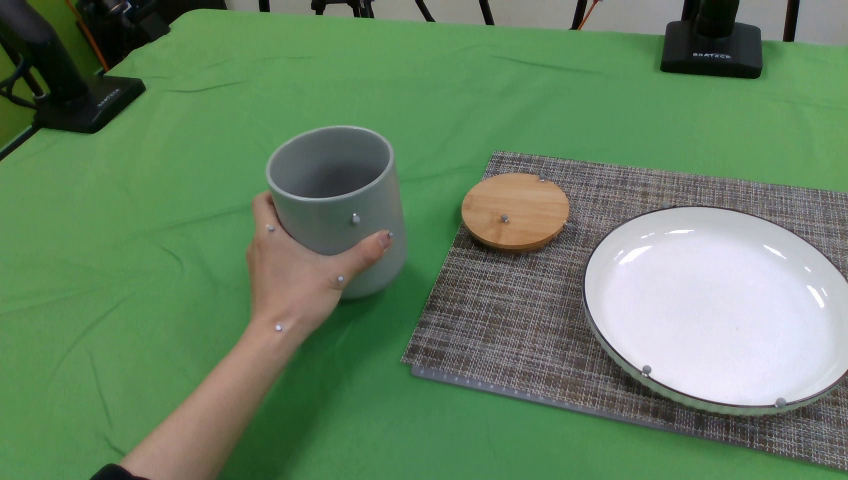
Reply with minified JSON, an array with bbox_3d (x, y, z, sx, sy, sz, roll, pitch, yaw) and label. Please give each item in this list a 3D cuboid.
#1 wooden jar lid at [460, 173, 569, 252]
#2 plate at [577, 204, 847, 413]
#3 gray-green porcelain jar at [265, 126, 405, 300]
[{"bbox_3d":[0.091,-0.027,0.613,0.108,0.021,0.107,-3,45,4],"label":"wooden jar lid"},{"bbox_3d":[0.232,0.053,0.500,0.207,0.039,0.205,-4,46,5],"label":"plate"},{"bbox_3d":[-0.072,-0.019,0.533,0.106,0.128,0.105,-3,43,3],"label":"gray-green porcelain jar"}]
